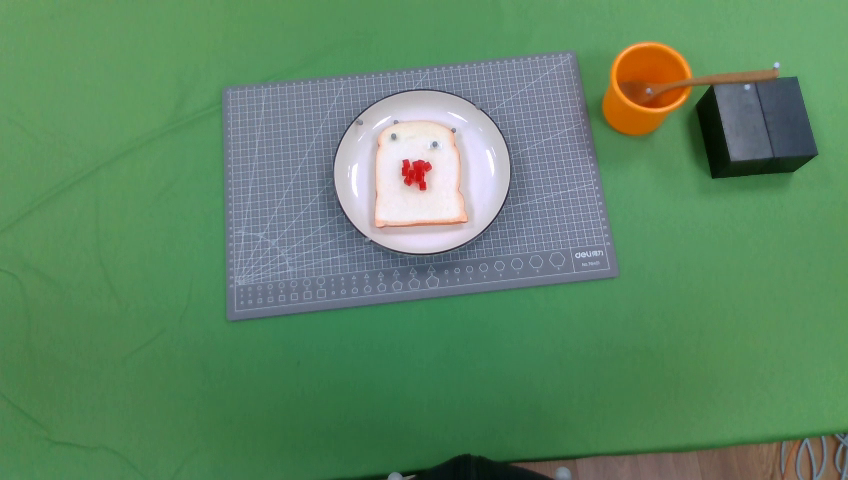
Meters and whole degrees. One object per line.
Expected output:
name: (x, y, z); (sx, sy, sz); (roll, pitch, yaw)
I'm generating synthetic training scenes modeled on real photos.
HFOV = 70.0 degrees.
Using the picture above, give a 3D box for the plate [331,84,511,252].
plate: (-0.003, -0.083, 0.713); (0.209, 0.038, 0.208); (0, 74, 1)

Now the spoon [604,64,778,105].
spoon: (0.291, -0.178, 0.680); (0.022, 0.192, 0.041); (35, 71, -35)

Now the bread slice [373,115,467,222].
bread slice: (-0.011, -0.084, 0.714); (0.107, 0.018, 0.133); (-6, 74, -2)
